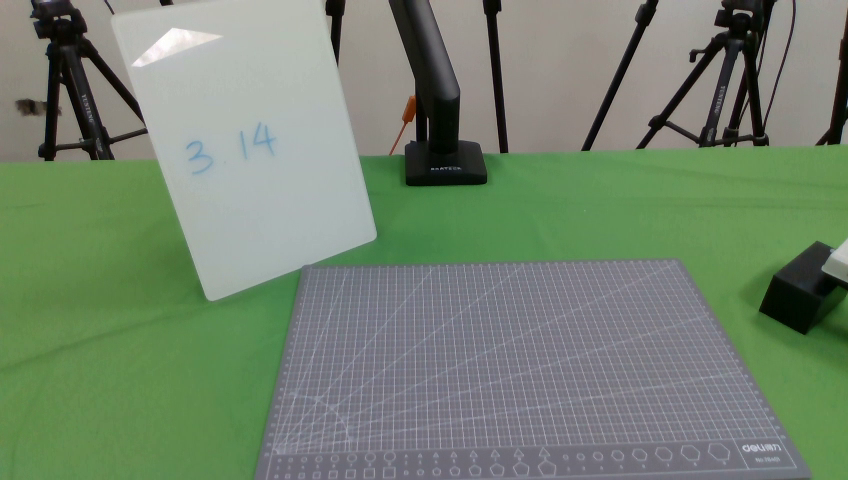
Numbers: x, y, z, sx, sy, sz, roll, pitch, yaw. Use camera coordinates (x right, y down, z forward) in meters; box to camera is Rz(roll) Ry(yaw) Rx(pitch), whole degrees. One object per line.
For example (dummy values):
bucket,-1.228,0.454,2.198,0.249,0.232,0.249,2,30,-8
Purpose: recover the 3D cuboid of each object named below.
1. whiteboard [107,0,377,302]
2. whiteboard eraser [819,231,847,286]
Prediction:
whiteboard,-0.212,-0.121,0.716,0.217,0.307,0.142,-22,22,-27
whiteboard eraser,0.453,0.036,0.587,0.055,0.042,0.111,-27,44,-33
